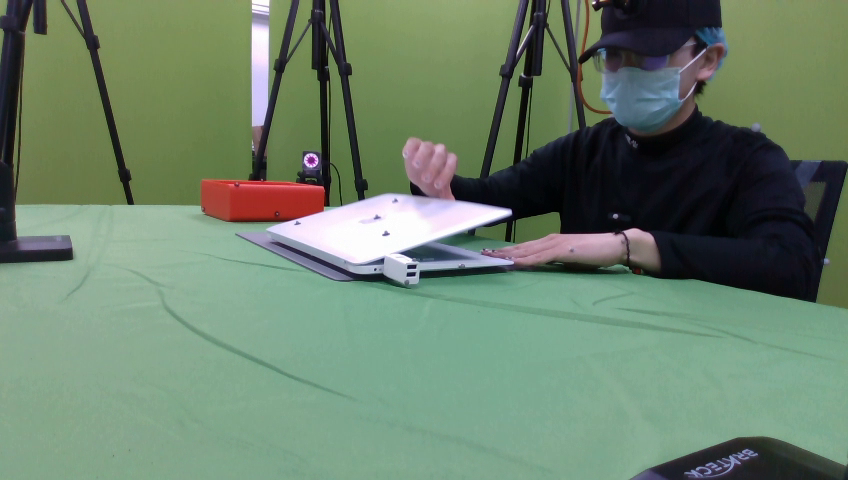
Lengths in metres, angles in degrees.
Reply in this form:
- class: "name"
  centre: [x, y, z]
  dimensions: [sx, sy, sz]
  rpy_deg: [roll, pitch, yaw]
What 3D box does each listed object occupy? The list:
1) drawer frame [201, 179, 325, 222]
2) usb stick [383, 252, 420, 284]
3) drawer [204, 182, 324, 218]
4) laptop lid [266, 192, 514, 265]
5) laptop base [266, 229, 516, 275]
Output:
- class: "drawer frame"
  centre: [-0.361, -0.092, 1.356]
  dimensions: [0.215, 0.082, 0.200]
  rpy_deg: [-4, 10, -37]
- class: "usb stick"
  centre: [-0.029, 0.029, 0.674]
  dimensions: [0.021, 0.027, 0.059]
  rpy_deg: [-3, 11, -34]
- class: "drawer"
  centre: [-0.360, -0.092, 1.358]
  dimensions: [0.213, 0.073, 0.193]
  rpy_deg: [-4, 10, -36]
- class: "laptop lid"
  centre: [-0.067, -0.029, 0.870]
  dimensions: [0.243, 0.013, 0.355]
  rpy_deg: [-18, 17, -27]
- class: "laptop base"
  centre: [-0.066, 0.014, 0.877]
  dimensions: [0.237, 0.023, 0.352]
  rpy_deg: [1, 7, -32]
